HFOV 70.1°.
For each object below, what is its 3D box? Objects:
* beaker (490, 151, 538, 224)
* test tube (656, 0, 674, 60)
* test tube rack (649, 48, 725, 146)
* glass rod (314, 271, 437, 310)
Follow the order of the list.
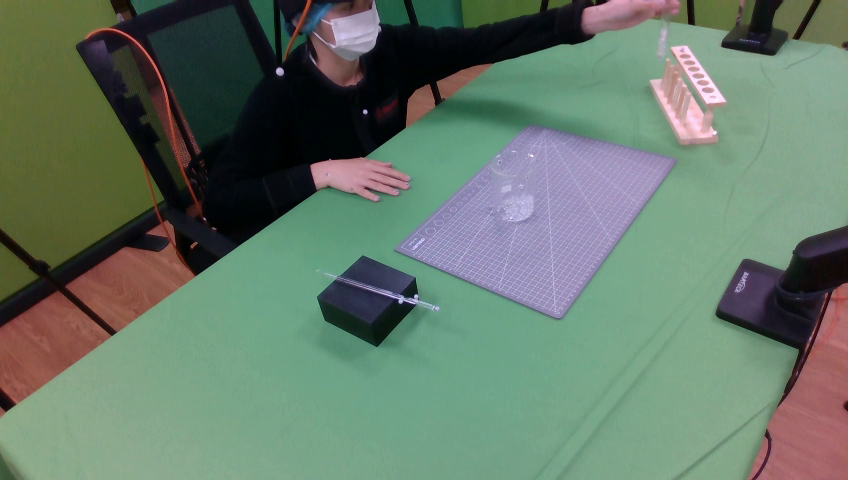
[{"bbox_3d":[0.151,-0.084,0.988,0.084,0.101,0.073,-24,43,-20],"label":"beaker"},{"bbox_3d":[0.424,-0.390,1.056,0.017,0.151,0.017,-3,36,3],"label":"test tube"},{"bbox_3d":[0.508,-0.285,1.186,0.067,0.085,0.241,-4,40,6],"label":"test tube rack"},{"bbox_3d":[-0.072,0.069,0.837,0.198,0.008,0.008,14,44,24],"label":"glass rod"}]
